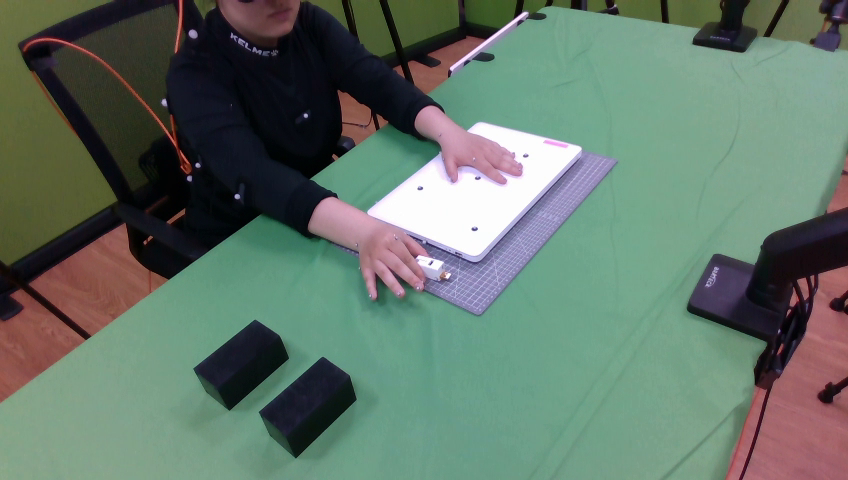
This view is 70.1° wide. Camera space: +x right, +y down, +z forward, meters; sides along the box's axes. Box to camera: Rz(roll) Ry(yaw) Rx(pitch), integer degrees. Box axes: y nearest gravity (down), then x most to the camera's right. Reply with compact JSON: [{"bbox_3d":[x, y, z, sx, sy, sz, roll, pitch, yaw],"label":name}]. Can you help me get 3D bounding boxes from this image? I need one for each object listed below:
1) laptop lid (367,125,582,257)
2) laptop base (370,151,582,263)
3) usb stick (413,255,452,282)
[{"bbox_3d":[0.095,-0.105,1.066,0.239,0.013,0.358,22,48,34],"label":"laptop lid"},{"bbox_3d":[0.098,-0.096,1.072,0.233,0.023,0.355,20,47,33],"label":"laptop base"},{"bbox_3d":[0.014,0.045,0.906,0.059,0.027,0.021,19,43,23],"label":"usb stick"}]
